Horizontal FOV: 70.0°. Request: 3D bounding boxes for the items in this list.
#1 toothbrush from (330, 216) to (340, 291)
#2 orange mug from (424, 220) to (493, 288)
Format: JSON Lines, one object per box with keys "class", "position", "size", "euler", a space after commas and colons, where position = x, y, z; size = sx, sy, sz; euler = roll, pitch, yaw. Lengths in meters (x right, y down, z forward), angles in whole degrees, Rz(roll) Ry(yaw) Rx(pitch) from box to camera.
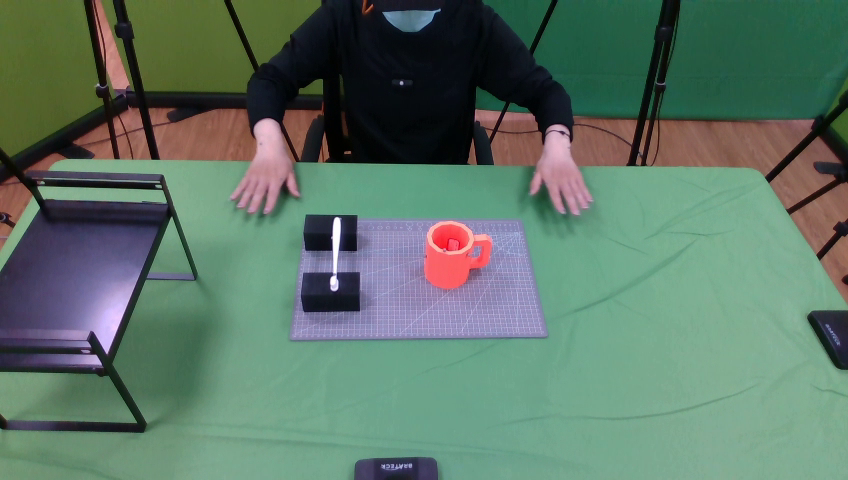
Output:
{"class": "toothbrush", "position": [-0.161, 0.019, 1.094], "size": [0.014, 0.017, 0.180], "euler": [-12, 45, 6]}
{"class": "orange mug", "position": [0.064, 0.023, 1.119], "size": [0.126, 0.101, 0.083], "euler": [-9, 47, -7]}
